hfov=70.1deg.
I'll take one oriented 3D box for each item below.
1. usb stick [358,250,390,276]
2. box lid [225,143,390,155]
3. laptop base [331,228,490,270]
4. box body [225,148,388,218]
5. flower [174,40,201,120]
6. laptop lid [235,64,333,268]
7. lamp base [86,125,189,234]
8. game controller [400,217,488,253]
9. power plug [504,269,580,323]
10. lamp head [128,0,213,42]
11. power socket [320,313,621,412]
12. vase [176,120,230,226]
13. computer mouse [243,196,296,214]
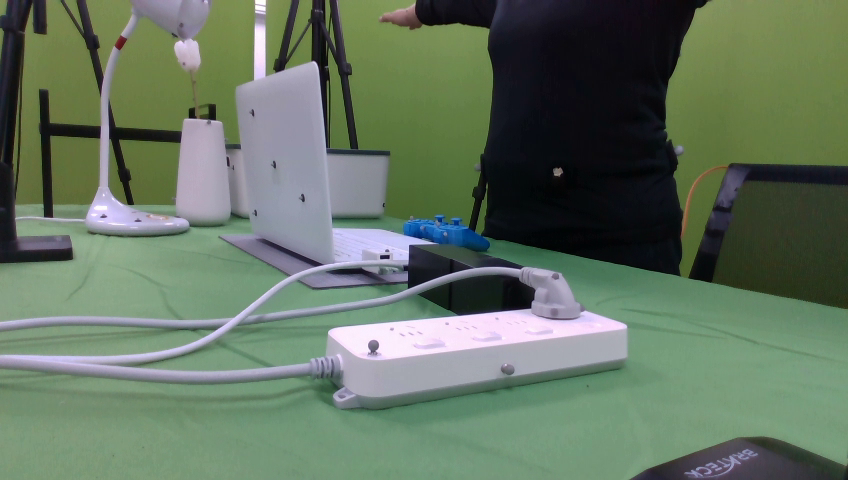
[{"bbox_3d":[-0.062,0.026,0.709,0.021,0.027,0.059,-2,3,-29],"label":"usb stick"},{"bbox_3d":[-0.296,-0.217,1.463,0.373,0.015,0.262,-2,8,-29],"label":"box lid"},{"bbox_3d":[-0.095,0.011,0.912,0.237,0.023,0.352,2,6,-32],"label":"laptop base"},{"bbox_3d":[-0.298,-0.143,1.473,0.366,0.160,0.253,-1,9,-30],"label":"box body"},{"bbox_3d":[-0.430,-0.211,1.165,0.044,0.361,0.038,-10,-5,-24],"label":"flower"},{"bbox_3d":[-0.203,-0.103,0.828,0.013,0.241,0.355,-9,14,-30],"label":"laptop lid"},{"bbox_3d":[-0.497,-0.105,1.027,0.179,0.180,0.160,1,7,3],"label":"lamp base"},{"bbox_3d":[0.029,-0.011,1.027,0.097,0.051,0.154,-3,9,-34],"label":"game controller"},{"bbox_3d":[0.092,0.051,0.470,0.035,0.052,0.072,0,6,-16],"label":"power plug"},{"bbox_3d":[-0.423,-0.394,0.980,0.123,0.112,0.112,20,7,-3],"label":"lamp head"},{"bbox_3d":[0.038,0.075,0.410,0.228,0.032,0.072,-2,8,-29],"label":"power socket"},{"bbox_3d":[-0.424,-0.128,1.159,0.098,0.200,0.098,2,9,0],"label":"vase"},{"bbox_3d":[-0.362,-0.082,1.416,0.117,0.041,0.063,-3,10,5],"label":"computer mouse"}]
